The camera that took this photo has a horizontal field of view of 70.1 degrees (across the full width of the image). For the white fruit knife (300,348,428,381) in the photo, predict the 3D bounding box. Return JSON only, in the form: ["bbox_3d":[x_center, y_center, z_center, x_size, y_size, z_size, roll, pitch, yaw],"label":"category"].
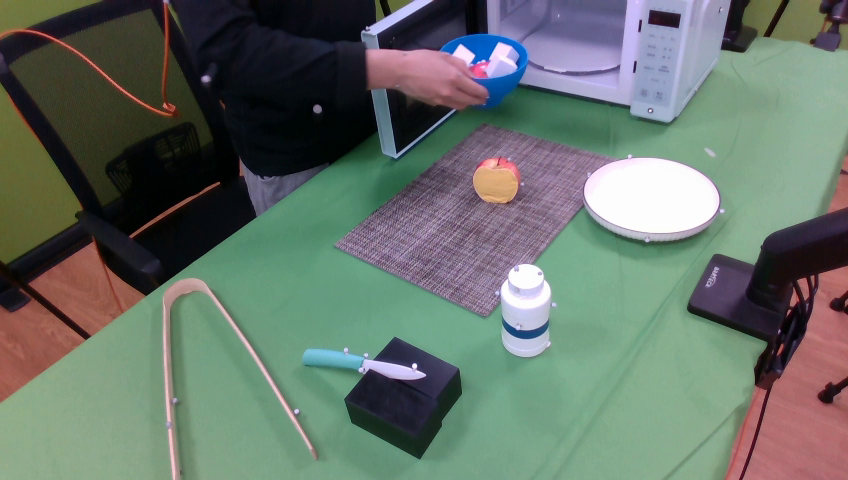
[{"bbox_3d":[-0.079,0.154,0.748,0.206,0.027,0.016,1,20,34],"label":"white fruit knife"}]

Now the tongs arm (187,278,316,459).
[{"bbox_3d":[-0.241,0.154,0.816,0.028,0.028,0.384,-31,45,-21],"label":"tongs arm"}]

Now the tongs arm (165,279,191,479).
[{"bbox_3d":[-0.313,0.182,0.789,0.051,0.026,0.381,-19,41,-14],"label":"tongs arm"}]

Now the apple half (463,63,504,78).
[{"bbox_3d":[0.098,-0.277,1.015,0.081,0.033,0.081,-5,42,5],"label":"apple half"}]

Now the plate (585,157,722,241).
[{"bbox_3d":[0.367,-0.063,0.979,0.207,0.039,0.206,-4,41,4],"label":"plate"}]

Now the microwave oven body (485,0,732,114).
[{"bbox_3d":[0.377,-0.462,1.267,0.438,0.261,0.327,21,48,30],"label":"microwave oven body"}]

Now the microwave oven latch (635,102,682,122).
[{"bbox_3d":[0.447,-0.251,1.158,0.078,0.029,0.030,28,52,35],"label":"microwave oven latch"}]

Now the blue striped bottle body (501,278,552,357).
[{"bbox_3d":[0.130,0.088,0.769,0.063,0.121,0.063,-4,41,4],"label":"blue striped bottle body"}]

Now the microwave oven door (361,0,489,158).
[{"bbox_3d":[0.022,-0.353,1.183,0.039,0.245,0.357,21,48,30],"label":"microwave oven door"}]

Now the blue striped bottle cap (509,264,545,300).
[{"bbox_3d":[0.125,0.051,0.735,0.044,0.021,0.044,-6,39,5],"label":"blue striped bottle cap"}]

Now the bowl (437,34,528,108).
[{"bbox_3d":[0.098,-0.276,1.020,0.151,0.077,0.150,-1,45,2],"label":"bowl"}]

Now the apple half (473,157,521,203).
[{"bbox_3d":[0.128,-0.107,1.030,0.080,0.075,0.053,4,38,19],"label":"apple half"}]
